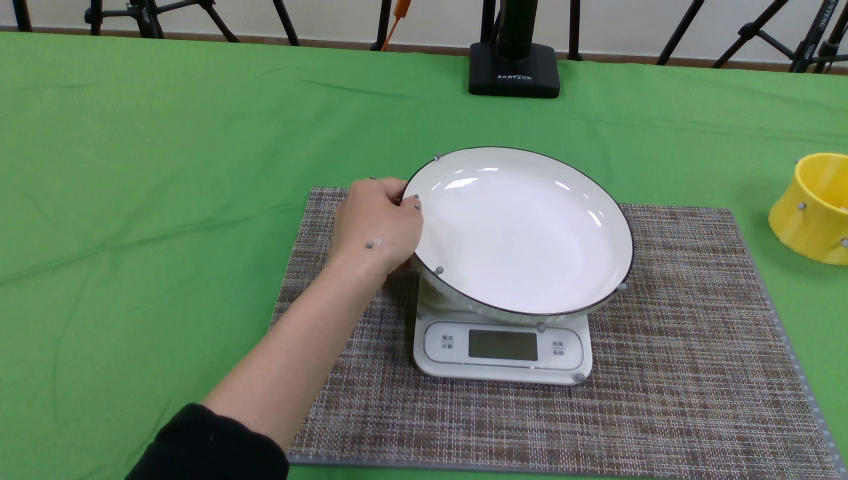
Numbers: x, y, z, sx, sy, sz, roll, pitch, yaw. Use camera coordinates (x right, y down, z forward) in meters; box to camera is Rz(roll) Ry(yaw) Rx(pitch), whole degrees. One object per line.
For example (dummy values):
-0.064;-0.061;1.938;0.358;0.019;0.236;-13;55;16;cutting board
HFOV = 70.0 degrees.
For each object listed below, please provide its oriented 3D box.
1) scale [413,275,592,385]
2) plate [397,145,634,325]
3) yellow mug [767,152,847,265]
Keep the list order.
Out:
0.070;0.036;0.551;0.148;0.032;0.199;4;46;2;scale
0.078;-0.007;0.539;0.209;0.038;0.207;4;47;-4;plate
0.423;-0.025;0.603;0.100;0.064;0.129;-32;55;-27;yellow mug
